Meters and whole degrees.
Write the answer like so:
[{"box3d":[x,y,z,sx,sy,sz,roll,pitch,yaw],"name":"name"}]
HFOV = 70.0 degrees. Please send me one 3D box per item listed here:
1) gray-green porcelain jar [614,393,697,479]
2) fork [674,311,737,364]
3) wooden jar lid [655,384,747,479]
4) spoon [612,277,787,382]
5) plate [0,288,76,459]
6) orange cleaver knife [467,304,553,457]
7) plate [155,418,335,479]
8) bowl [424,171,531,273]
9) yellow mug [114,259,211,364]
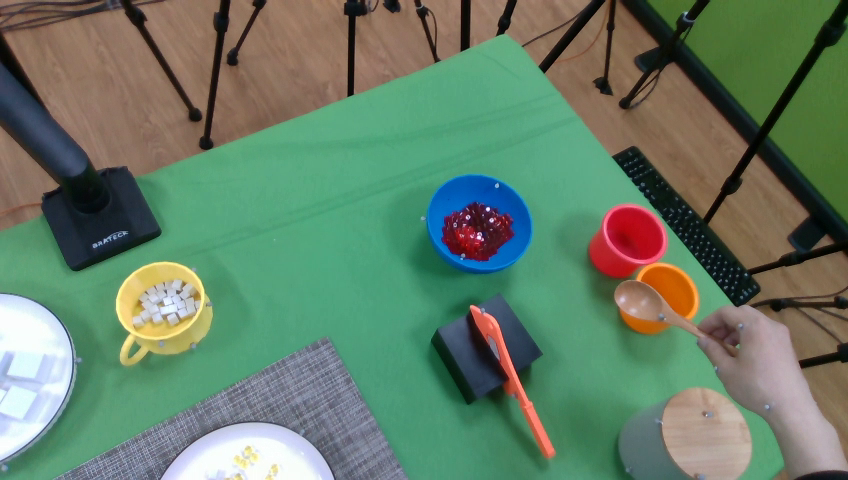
[{"box3d":[0.305,0.249,0.752,0.106,0.127,0.105,4,63,-8],"name":"gray-green porcelain jar"},{"box3d":[0.340,0.106,0.814,0.028,0.019,0.205,-9,23,-17],"name":"fork"},{"box3d":[0.315,0.221,0.696,0.108,0.021,0.107,3,64,-7],"name":"wooden jar lid"},{"box3d":[0.293,0.098,0.656,0.192,0.022,0.042,33,105,31],"name":"spoon"},{"box3d":[-0.509,0.157,0.693,0.208,0.039,0.206,4,64,-8],"name":"plate"},{"box3d":[0.107,0.177,0.774,0.012,0.077,0.211,-26,96,-20],"name":"orange cleaver knife"},{"box3d":[-0.201,0.307,0.675,0.210,0.038,0.207,5,64,-9],"name":"plate"},{"box3d":[0.068,-0.014,0.861,0.152,0.077,0.150,4,64,-8],"name":"bowl"},{"box3d":[-0.327,0.094,0.742,0.100,0.064,0.130,28,63,4],"name":"yellow mug"}]
